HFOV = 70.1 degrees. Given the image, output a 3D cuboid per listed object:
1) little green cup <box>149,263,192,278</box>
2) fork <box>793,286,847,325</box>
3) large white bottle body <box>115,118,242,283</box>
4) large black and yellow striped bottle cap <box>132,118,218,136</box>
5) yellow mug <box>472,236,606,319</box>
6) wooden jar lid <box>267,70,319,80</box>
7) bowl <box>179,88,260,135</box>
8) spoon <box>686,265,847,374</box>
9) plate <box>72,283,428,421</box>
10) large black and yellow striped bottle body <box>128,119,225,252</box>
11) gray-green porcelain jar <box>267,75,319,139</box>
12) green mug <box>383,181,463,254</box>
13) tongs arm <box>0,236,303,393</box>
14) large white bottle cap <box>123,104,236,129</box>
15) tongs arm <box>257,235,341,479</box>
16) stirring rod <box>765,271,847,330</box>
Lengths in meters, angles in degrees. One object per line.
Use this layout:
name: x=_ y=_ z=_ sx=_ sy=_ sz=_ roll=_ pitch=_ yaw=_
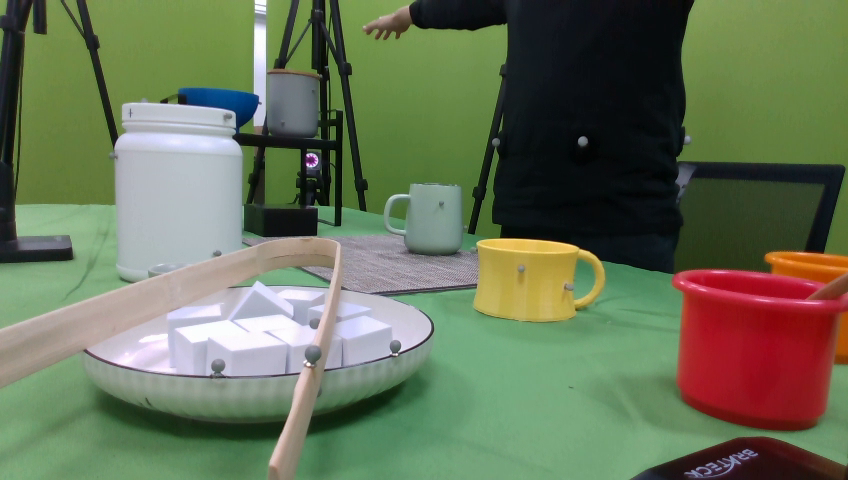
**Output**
little green cup: x=-0.207 y=0.043 z=0.531 sx=0.061 sy=0.038 sz=0.061 roll=3 pitch=6 yaw=0
fork: x=0.332 y=0.019 z=0.443 sx=0.028 sy=0.018 sz=0.207 roll=-3 pitch=-35 yaw=-16
large white bottle body: x=-0.270 y=-0.051 z=0.673 sx=0.131 sy=0.184 sz=0.130 roll=2 pitch=8 yaw=0
large black and yellow striped bottle cap: x=-0.359 y=-0.164 z=0.875 sx=0.115 sy=0.019 sz=0.115 roll=2 pitch=6 yaw=0
yellow mug: x=0.114 y=0.034 z=0.590 sx=0.131 sy=0.064 sz=0.100 roll=3 pitch=6 yaw=-7
wooden jar lid: x=-0.275 y=-0.339 z=1.271 sx=0.108 sy=0.020 sz=0.108 roll=5 pitch=6 yaw=0
bowl: x=-0.400 y=-0.248 z=1.188 sx=0.151 sy=0.077 sz=0.151 roll=2 pitch=6 yaw=0
spoon: x=0.214 y=0.032 z=0.327 sx=0.042 sy=0.021 sz=0.193 roll=-2 pitch=-35 yaw=-26
plate: x=-0.102 y=0.066 z=0.381 sx=0.208 sy=0.039 sz=0.207 roll=2 pitch=7 yaw=0
large black and yellow striped bottle body: x=-0.361 y=-0.081 z=0.887 sx=0.131 sy=0.184 sz=0.130 roll=2 pitch=8 yaw=0
gray-green porcelain jar: x=-0.277 y=-0.279 z=1.280 sx=0.106 sy=0.126 sz=0.106 roll=2 pitch=8 yaw=0
green mug: x=-0.001 y=-0.036 z=0.922 sx=0.126 sy=0.105 sz=0.092 roll=0 pitch=8 yaw=-16
tongs arm: x=-0.158 y=0.038 z=0.351 sx=0.028 sy=0.028 sz=0.388 roll=-3 pitch=8 yaw=12
large white bottle cap: x=-0.266 y=-0.134 z=0.663 sx=0.115 sy=0.018 sz=0.115 roll=3 pitch=7 yaw=0
tongs arm: x=-0.074 y=0.039 z=0.349 sx=0.051 sy=0.026 sz=0.384 roll=-2 pitch=9 yaw=-2
stirring rod: x=0.352 y=0.020 z=0.481 sx=0.176 sy=0.006 sz=0.014 roll=-40 pitch=-8 yaw=17
